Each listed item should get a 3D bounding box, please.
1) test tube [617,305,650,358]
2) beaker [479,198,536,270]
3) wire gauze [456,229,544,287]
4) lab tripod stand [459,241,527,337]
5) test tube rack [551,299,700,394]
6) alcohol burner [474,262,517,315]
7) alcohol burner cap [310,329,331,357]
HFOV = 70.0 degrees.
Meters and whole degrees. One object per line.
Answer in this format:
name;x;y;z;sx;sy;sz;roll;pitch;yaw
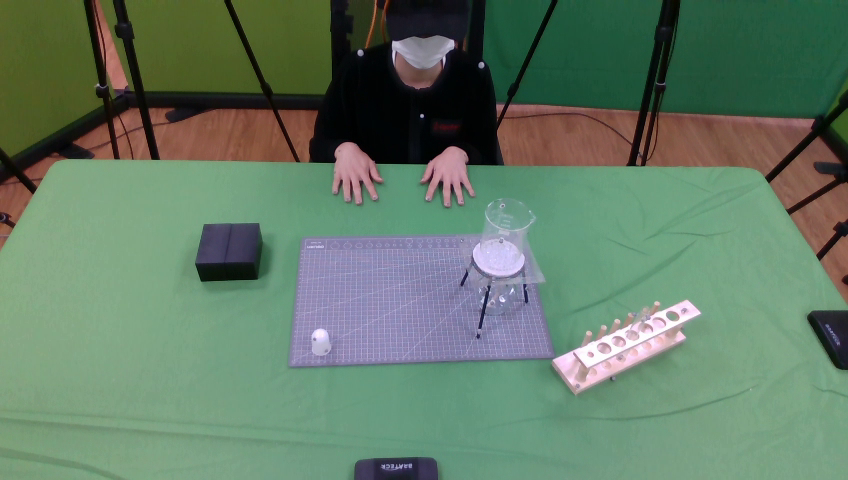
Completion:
test tube;0.333;0.149;0.967;0.017;0.151;0.017;0;52;1
beaker;0.131;-0.007;0.975;0.084;0.101;0.073;2;46;-4
wire gauze;0.125;0.030;1.008;0.125;0.011;0.120;-3;48;-11
lab tripod stand;0.122;0.075;1.054;0.148;0.132;0.147;3;44;-3
test tube rack;0.339;0.166;1.021;0.242;0.085;0.066;-19;50;-21
alcohol burner;0.128;0.078;1.066;0.078;0.119;0.077;2;48;-2
alcohol burner cap;-0.173;0.168;1.005;0.034;0.048;0.033;2;46;-2
